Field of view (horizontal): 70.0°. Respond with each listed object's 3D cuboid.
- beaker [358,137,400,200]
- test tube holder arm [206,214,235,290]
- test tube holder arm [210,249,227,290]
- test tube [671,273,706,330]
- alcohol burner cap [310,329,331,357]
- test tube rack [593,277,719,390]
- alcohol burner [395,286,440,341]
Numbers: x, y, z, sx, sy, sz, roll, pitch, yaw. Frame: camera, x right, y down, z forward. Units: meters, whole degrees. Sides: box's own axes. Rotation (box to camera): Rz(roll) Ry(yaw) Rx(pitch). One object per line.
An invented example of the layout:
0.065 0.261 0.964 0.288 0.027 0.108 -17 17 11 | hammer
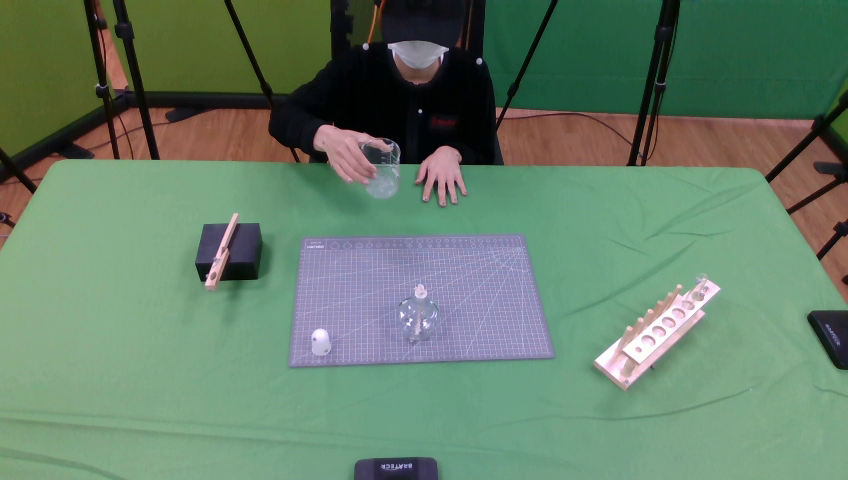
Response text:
-0.080 -0.131 1.147 0.083 0.101 0.074 33 59 22 | beaker
-0.364 0.017 1.090 0.013 0.015 0.177 7 45 -8 | test tube holder arm
-0.359 0.050 1.059 0.010 0.015 0.087 8 45 -8 | test tube holder arm
0.443 0.106 1.018 0.017 0.151 0.017 -1 49 1 | test tube
-0.173 0.168 1.005 0.034 0.048 0.033 2 46 -2 | alcohol burner cap
0.401 0.148 1.043 0.242 0.085 0.066 -30 55 -29 | test tube rack
-0.010 0.116 1.018 0.078 0.119 0.077 3 47 -3 | alcohol burner
